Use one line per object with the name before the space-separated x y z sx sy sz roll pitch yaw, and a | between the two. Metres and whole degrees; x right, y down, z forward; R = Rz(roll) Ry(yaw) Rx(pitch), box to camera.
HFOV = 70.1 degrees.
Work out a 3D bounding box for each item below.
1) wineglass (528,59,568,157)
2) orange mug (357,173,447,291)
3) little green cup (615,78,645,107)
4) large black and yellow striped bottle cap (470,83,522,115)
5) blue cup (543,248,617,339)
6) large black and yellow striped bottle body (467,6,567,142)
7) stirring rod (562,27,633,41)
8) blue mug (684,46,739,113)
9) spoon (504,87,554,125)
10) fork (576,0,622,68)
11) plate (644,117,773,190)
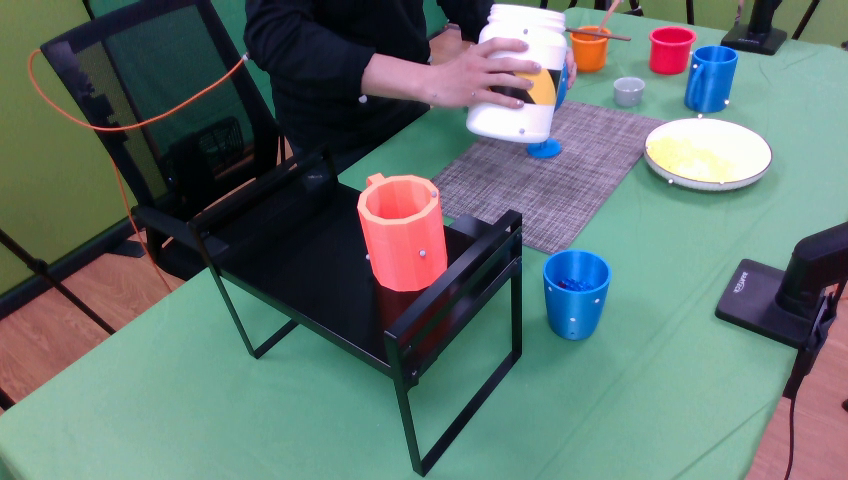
wineglass | 0.224 -0.241 1.101 0.074 0.173 0.073 -4 42 4
orange mug | -0.029 -0.018 0.669 0.084 0.101 0.125 -23 46 -16
little green cup | 0.426 -0.306 1.257 0.061 0.039 0.061 -4 40 4
large black and yellow striped bottle cap | 0.156 -0.307 1.316 0.115 0.019 0.114 -7 39 6
blue cup | 0.199 0.076 0.797 0.092 0.100 0.092 -4 39 4
large black and yellow striped bottle body | 0.141 -0.250 0.914 0.131 0.184 0.130 7 18 -2
stirring rod | 0.381 -0.463 1.356 0.175 0.006 0.014 21 47 30
blue mug | 0.556 -0.310 1.190 0.117 0.106 0.081 -32 46 -25
spoon | 0.227 -0.285 1.269 0.041 0.022 0.194 3 37 44
fork | 0.409 -0.484 1.381 0.028 0.019 0.207 37 101 46
plate | 0.495 -0.149 1.063 0.209 0.038 0.208 -5 40 4
